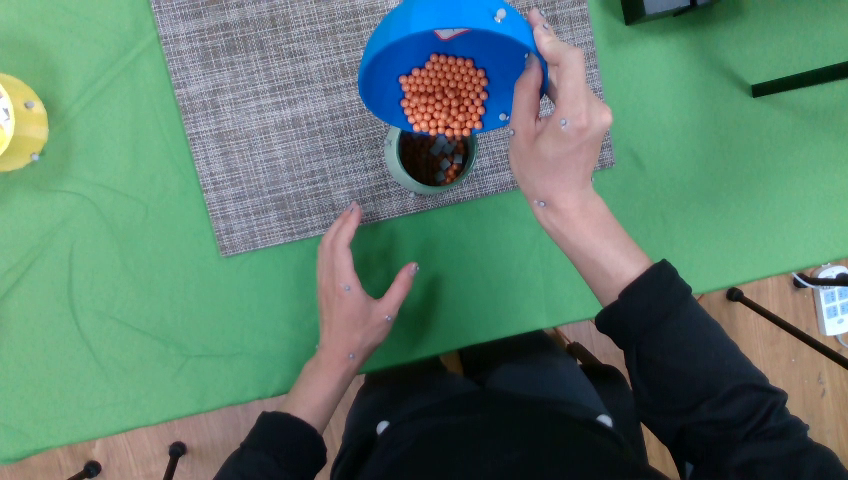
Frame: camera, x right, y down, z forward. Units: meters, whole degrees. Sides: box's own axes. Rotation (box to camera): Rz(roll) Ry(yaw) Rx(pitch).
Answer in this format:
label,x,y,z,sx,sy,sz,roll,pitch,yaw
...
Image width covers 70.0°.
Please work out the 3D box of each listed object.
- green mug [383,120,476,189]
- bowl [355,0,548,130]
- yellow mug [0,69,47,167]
label,x,y,z,sx,sy,sz,roll,pitch,yaw
green mug,0.007,-0.114,0.612,0.093,0.104,0.125,3,96,-6
bowl,0.021,-0.159,0.488,0.151,0.152,0.076,1,71,-6
yellow mug,-0.437,-0.105,0.585,0.100,0.064,0.131,19,95,-9
